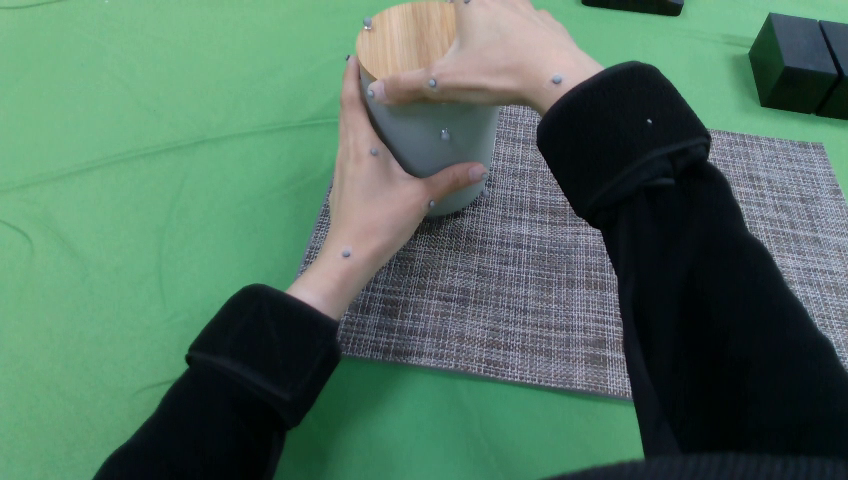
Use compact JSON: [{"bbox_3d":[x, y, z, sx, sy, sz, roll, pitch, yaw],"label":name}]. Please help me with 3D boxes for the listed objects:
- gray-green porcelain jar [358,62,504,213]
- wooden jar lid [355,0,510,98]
[{"bbox_3d":[0.003,-0.092,0.474,0.106,0.127,0.105,2,51,-2],"label":"gray-green porcelain jar"},{"bbox_3d":[0.006,-0.132,0.426,0.108,0.021,0.107,1,52,-1],"label":"wooden jar lid"}]
